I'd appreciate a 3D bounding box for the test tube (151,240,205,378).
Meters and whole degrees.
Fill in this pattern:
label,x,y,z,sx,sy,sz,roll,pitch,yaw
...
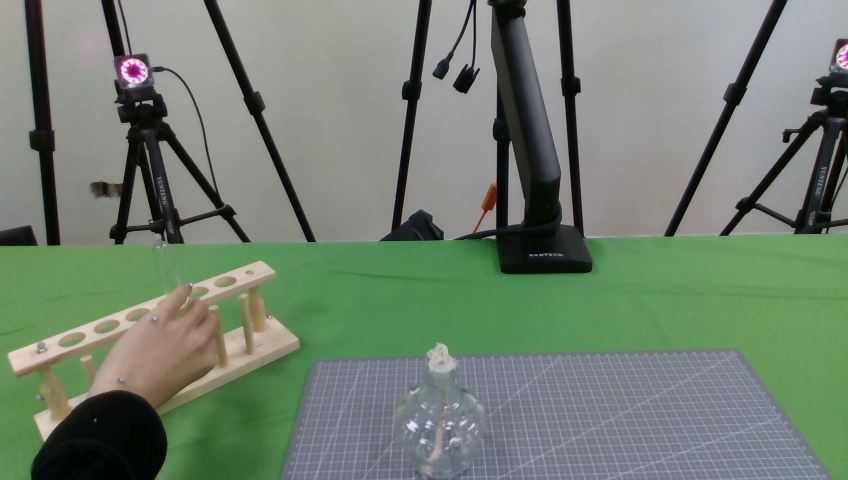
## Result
label,x,y,z,sx,sy,sz,roll,pitch,yaw
test tube,-0.232,0.068,0.572,0.017,0.151,0.017,-3,27,2

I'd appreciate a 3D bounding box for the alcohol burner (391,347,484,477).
label,x,y,z,sx,sy,sz,roll,pitch,yaw
alcohol burner,0.011,0.134,0.495,0.078,0.120,0.077,0,29,0

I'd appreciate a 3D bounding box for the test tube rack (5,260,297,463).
label,x,y,z,sx,sy,sz,roll,pitch,yaw
test tube rack,-0.252,0.108,0.595,0.243,0.086,0.066,-22,35,-35
